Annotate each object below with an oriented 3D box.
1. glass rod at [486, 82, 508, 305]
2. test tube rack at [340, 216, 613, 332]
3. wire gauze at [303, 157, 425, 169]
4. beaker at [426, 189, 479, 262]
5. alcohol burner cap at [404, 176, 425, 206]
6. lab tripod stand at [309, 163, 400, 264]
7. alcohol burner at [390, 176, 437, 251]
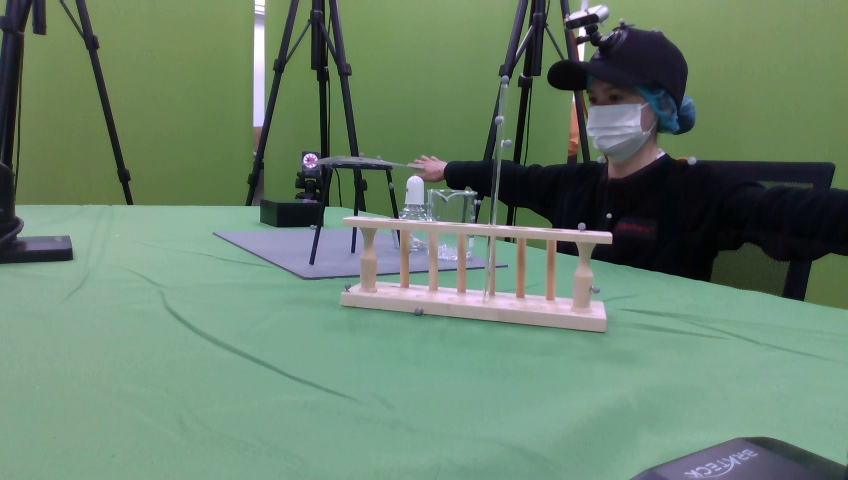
[{"bbox_3d":[0.064,-0.035,0.528,0.008,0.199,0.008,2,13,0],"label":"glass rod"},{"bbox_3d":[0.047,0.026,0.568,0.242,0.085,0.067,4,8,13],"label":"test tube rack"},{"bbox_3d":[-0.082,-0.102,0.799,0.126,0.011,0.121,-1,7,-30],"label":"wire gauze"},{"bbox_3d":[0.039,-0.022,0.871,0.074,0.100,0.084,4,8,12],"label":"beaker"},{"bbox_3d":[-0.015,-0.077,0.951,0.034,0.048,0.034,3,4,0],"label":"alcohol burner cap"},{"bbox_3d":[-0.091,-0.037,0.813,0.148,0.131,0.148,1,6,0],"label":"lab tripod stand"},{"bbox_3d":[-0.016,-0.042,0.955,0.078,0.119,0.078,4,5,0],"label":"alcohol burner"}]
